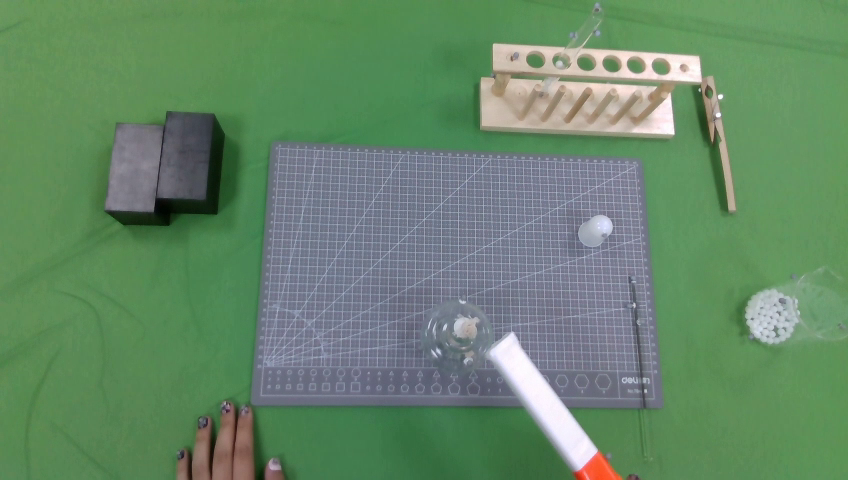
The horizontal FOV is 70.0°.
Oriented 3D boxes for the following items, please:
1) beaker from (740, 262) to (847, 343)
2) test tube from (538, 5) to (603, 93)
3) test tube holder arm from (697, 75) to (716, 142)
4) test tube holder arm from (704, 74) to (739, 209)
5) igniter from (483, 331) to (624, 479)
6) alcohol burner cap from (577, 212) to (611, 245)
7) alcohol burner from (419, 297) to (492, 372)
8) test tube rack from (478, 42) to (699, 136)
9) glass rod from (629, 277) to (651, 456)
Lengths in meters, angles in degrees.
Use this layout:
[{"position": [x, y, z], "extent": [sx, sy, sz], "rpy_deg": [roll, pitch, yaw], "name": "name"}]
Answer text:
[{"position": [0.411, 0.073, 0.674], "extent": [0.074, 0.100, 0.083], "rpy_deg": [15, 74, -1], "name": "beaker"}, {"position": [0.158, -0.208, 0.676], "extent": [0.017, 0.150, 0.017], "rpy_deg": [3, 72, -11], "name": "test tube"}, {"position": [0.362, -0.168, 0.773], "extent": [0.010, 0.015, 0.087], "rpy_deg": [-13, 75, 28], "name": "test tube holder arm"}, {"position": [0.372, -0.125, 0.760], "extent": [0.013, 0.015, 0.177], "rpy_deg": [-14, 75, 28], "name": "test tube holder arm"}, {"position": [0.146, 0.202, 0.537], "extent": [0.057, 0.025, 0.276], "rpy_deg": [-35, 86, -24], "name": "igniter"}, {"position": [0.200, -0.016, 0.702], "extent": [0.034, 0.048, 0.033], "rpy_deg": [1, 76, -5], "name": "alcohol burner cap"}, {"position": [0.034, 0.094, 0.620], "extent": [0.078, 0.119, 0.077], "rpy_deg": [1, 73, -4], "name": "alcohol burner"}, {"position": [0.191, -0.177, 0.722], "extent": [0.243, 0.085, 0.066], "rpy_deg": [2, 75, -5], "name": "test tube rack"}, {"position": [0.243, 0.139, 0.684], "extent": [0.008, 0.008, 0.198], "rpy_deg": [1, 75, -6], "name": "glass rod"}]
